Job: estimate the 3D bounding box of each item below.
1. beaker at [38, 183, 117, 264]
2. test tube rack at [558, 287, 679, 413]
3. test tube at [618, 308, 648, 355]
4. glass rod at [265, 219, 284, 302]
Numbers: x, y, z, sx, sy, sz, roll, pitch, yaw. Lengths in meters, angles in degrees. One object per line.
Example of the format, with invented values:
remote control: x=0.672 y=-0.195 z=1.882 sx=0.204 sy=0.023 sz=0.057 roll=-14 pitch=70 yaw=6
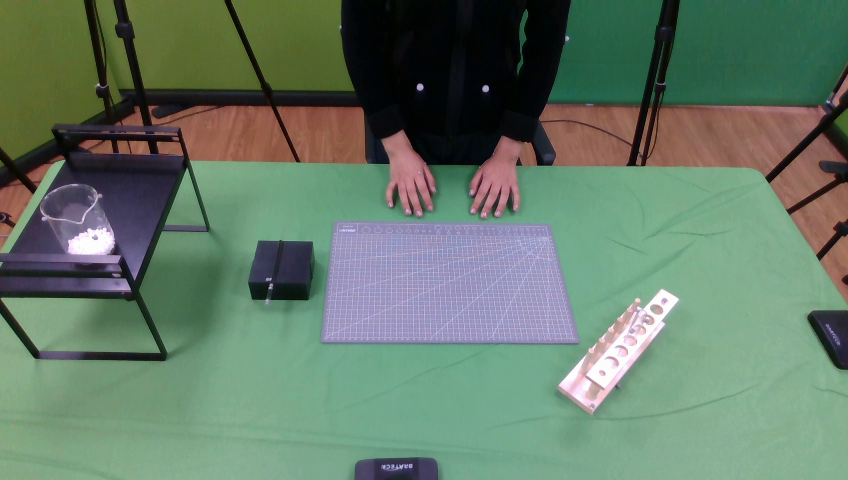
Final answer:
beaker: x=-0.494 y=-0.019 z=0.874 sx=0.074 sy=0.101 sz=0.083 roll=-29 pitch=55 yaw=-27
test tube rack: x=0.326 y=0.170 z=1.009 sx=0.066 sy=0.085 sz=0.242 roll=36 pitch=54 yaw=27
test tube: x=0.327 y=0.154 z=0.956 sx=0.017 sy=0.151 sz=0.017 roll=-1 pitch=50 yaw=1
glass rod: x=-0.267 y=0.031 z=1.084 sx=0.008 sy=0.008 sz=0.198 roll=1 pitch=46 yaw=-3
